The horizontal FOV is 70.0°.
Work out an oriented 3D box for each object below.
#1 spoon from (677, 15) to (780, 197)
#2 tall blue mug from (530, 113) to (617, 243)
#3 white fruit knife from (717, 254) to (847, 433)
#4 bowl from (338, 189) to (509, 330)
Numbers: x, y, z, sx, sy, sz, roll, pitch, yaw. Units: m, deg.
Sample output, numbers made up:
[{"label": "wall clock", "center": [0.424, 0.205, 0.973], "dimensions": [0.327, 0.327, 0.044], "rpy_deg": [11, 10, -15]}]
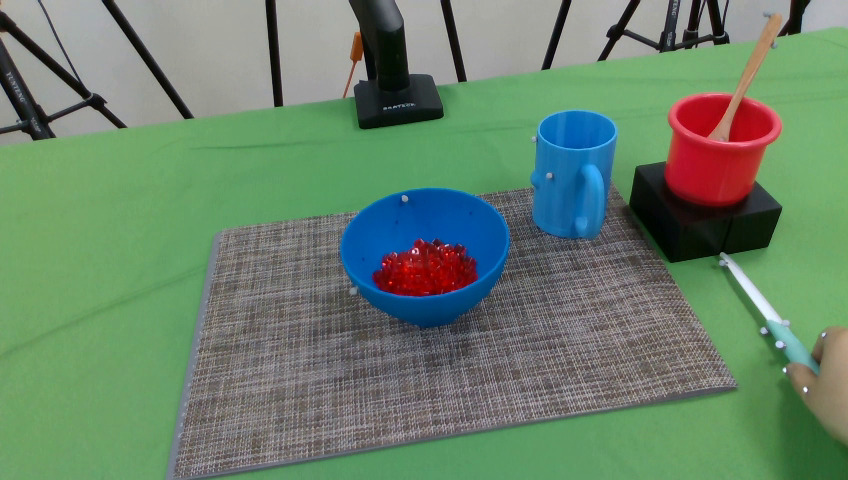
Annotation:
[{"label": "spoon", "center": [0.299, -0.129, 0.583], "dimensions": [0.041, 0.022, 0.194], "rpy_deg": [27, 95, 34]}, {"label": "tall blue mug", "center": [0.160, -0.056, 0.612], "dimensions": [0.078, 0.109, 0.106], "rpy_deg": [-27, 45, -24]}, {"label": "white fruit knife", "center": [0.305, 0.079, 0.520], "dimensions": [0.027, 0.016, 0.205], "rpy_deg": [13, 35, -20]}, {"label": "bowl", "center": [0.002, 0.029, 0.556], "dimensions": [0.151, 0.077, 0.150], "rpy_deg": [-3, 41, 3]}]
